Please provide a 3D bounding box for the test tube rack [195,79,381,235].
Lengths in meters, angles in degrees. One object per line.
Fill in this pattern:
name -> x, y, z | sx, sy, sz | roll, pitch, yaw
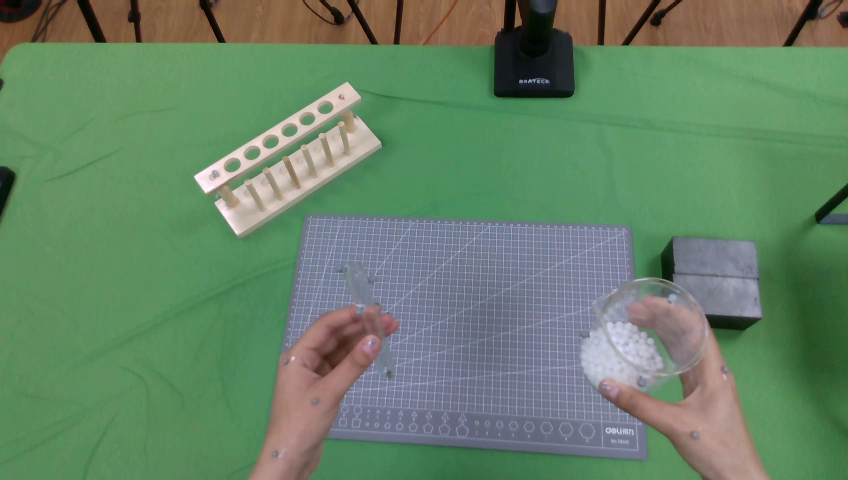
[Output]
test tube rack -> -0.181, -0.115, 0.840 | 0.242, 0.086, 0.066 | -35, 68, -12

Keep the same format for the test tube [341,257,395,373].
test tube -> -0.044, 0.068, 0.502 | 0.017, 0.152, 0.017 | -5, 47, 6

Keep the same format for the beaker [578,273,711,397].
beaker -> 0.163, 0.079, 0.476 | 0.084, 0.101, 0.073 | 20, 65, 11
